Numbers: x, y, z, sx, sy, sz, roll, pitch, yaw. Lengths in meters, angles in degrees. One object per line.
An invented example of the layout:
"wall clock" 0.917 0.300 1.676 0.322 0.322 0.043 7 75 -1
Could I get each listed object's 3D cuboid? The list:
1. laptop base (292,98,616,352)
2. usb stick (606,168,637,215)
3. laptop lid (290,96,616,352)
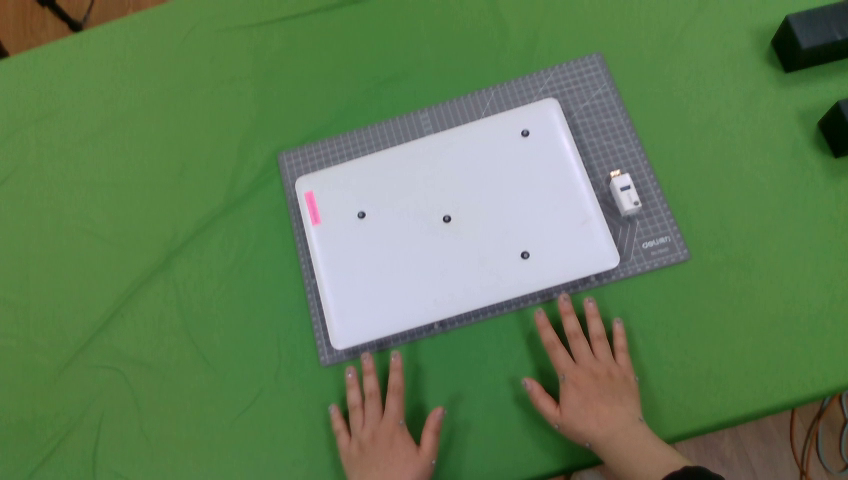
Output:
"laptop base" 0.026 -0.023 0.745 0.354 0.023 0.234 -18 74 3
"usb stick" 0.232 -0.061 0.719 0.021 0.027 0.058 -19 68 7
"laptop lid" 0.025 -0.024 0.733 0.357 0.013 0.240 -16 73 3
